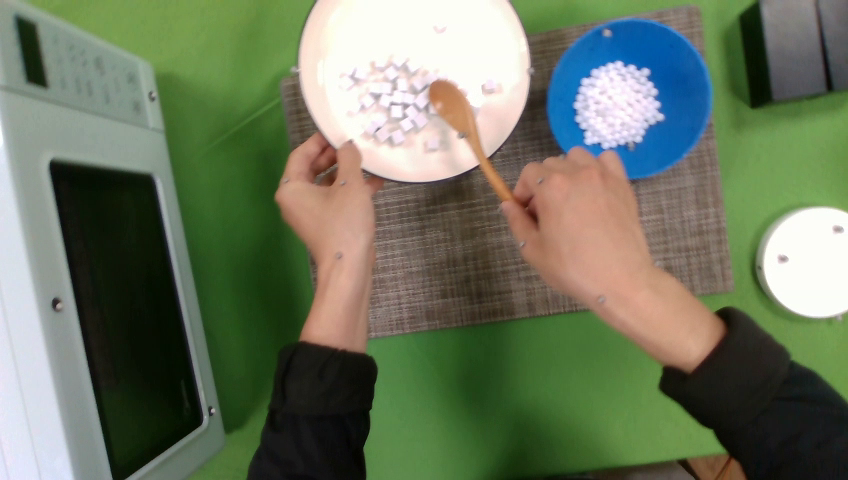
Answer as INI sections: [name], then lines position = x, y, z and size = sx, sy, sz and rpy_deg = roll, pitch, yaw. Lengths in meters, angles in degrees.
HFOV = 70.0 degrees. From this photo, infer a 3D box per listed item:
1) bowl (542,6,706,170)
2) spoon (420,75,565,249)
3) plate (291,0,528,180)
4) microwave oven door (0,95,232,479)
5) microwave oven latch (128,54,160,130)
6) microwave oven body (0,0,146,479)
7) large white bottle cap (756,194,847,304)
[bowl]
position = 0.190, -0.142, 0.602
size = 0.151, 0.077, 0.151
rpy_deg = 0, 94, 6
[spoon]
position = 0.054, -0.066, 0.508
size = 0.042, 0.022, 0.192
rpy_deg = -50, 62, 36
[plate]
position = -0.012, -0.156, 0.549
size = 0.209, 0.038, 0.209
rpy_deg = 0, 90, -7
[microwave oven door]
position = -0.281, 0.062, 0.565
size = 0.039, 0.244, 0.356
rpy_deg = -12, 92, 6
[microwave oven latch]
position = -0.312, -0.158, 0.656
size = 0.030, 0.029, 0.079
rpy_deg = -11, 93, 6
[microwave oven body]
position = -0.431, 0.049, 0.583
size = 0.326, 0.260, 0.442
rpy_deg = -11, 93, 6
[large white bottle cap]
position = 0.405, 0.010, 0.625
size = 0.115, 0.018, 0.115
rpy_deg = 0, 94, 5
